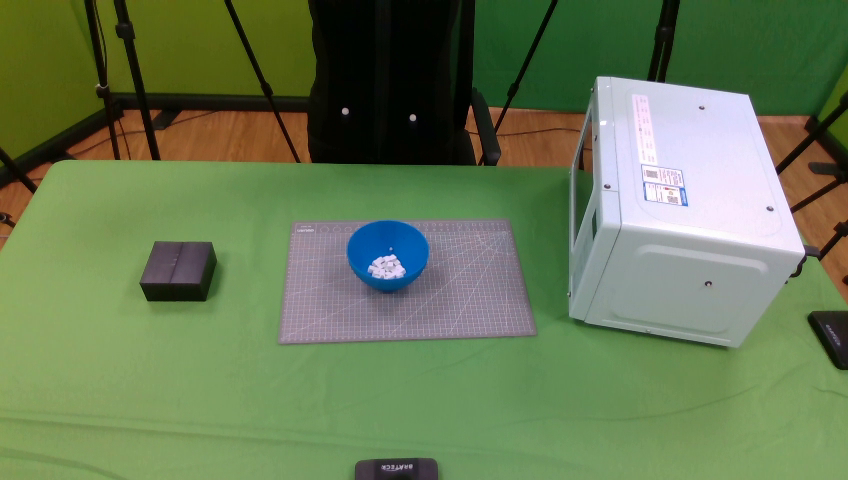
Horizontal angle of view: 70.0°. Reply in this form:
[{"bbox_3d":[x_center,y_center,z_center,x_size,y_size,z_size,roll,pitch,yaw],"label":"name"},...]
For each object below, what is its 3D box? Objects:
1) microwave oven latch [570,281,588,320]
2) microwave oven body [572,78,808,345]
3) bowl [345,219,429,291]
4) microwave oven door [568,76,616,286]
[{"bbox_3d":[0.275,0.105,1.082,0.030,0.029,0.079,9,45,6],"label":"microwave oven latch"},{"bbox_3d":[0.456,-0.063,1.125,0.326,0.261,0.439,8,45,5],"label":"microwave oven body"},{"bbox_3d":[-0.068,0.041,1.111,0.151,0.077,0.150,2,46,-2],"label":"bowl"},{"bbox_3d":[0.319,-0.119,1.161,0.039,0.245,0.354,9,46,5],"label":"microwave oven door"}]
